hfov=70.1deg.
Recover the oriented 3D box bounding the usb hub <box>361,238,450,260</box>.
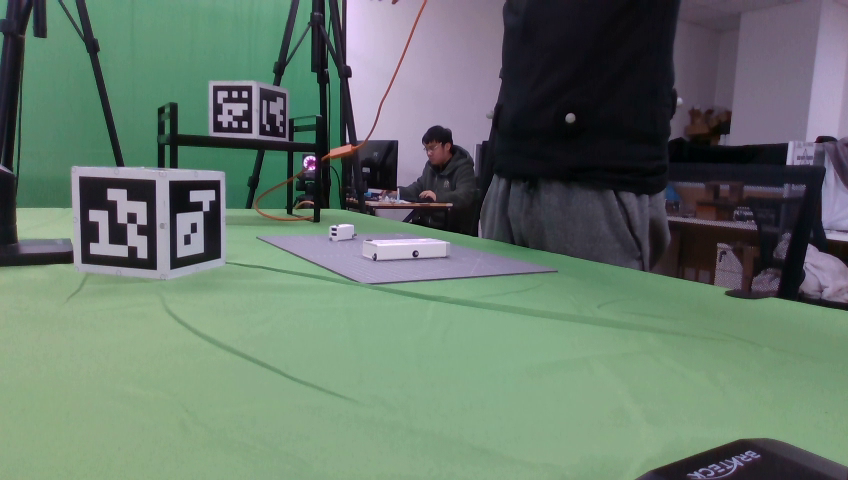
[{"bbox_3d":[-0.026,0.013,0.894,0.126,0.025,0.049,-1,7,-32],"label":"usb hub"}]

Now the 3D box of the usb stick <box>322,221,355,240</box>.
[{"bbox_3d":[-0.151,-0.016,1.058,0.021,0.027,0.059,-27,-13,40],"label":"usb stick"}]
